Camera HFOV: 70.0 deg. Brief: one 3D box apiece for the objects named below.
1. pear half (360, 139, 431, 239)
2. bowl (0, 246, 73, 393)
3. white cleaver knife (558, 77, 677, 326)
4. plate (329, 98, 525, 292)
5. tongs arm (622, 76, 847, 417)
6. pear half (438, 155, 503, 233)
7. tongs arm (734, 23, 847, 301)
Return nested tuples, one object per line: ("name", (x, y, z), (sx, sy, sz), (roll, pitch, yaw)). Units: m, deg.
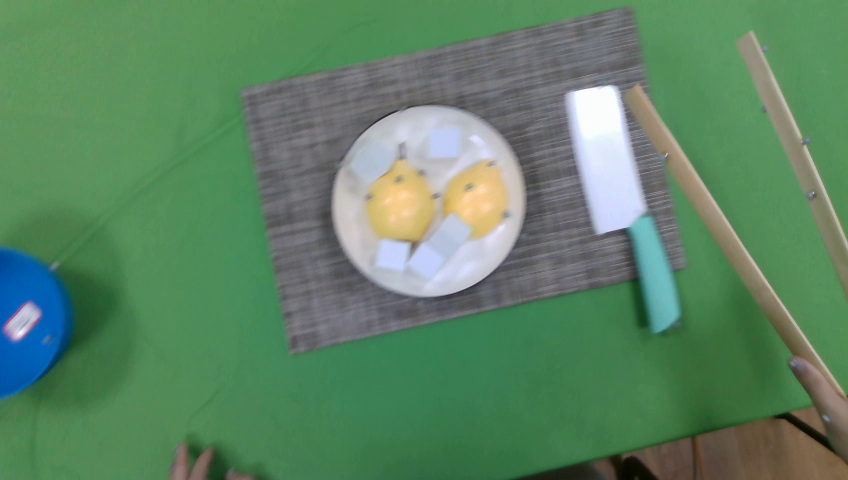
("pear half", (-0.031, -0.058, 0.646), (0.076, 0.056, 0.109), (-3, 84, -4))
("bowl", (-0.433, 0.081, 0.636), (0.151, 0.077, 0.151), (0, 88, -1))
("white cleaver knife", (0.213, -0.043, 0.675), (0.066, 0.021, 0.285), (-16, 85, 9))
("plate", (0.003, -0.048, 0.660), (0.208, 0.039, 0.207), (0, 88, 0))
("tongs arm", (0.297, 0.013, 0.553), (0.028, 0.028, 0.387), (-35, 91, -19))
("pear half", (0.053, -0.051, 0.655), (0.070, 0.031, 0.088), (19, 94, -3))
("tongs arm", (0.363, -0.020, 0.571), (0.051, 0.026, 0.384), (-23, 88, -15))
